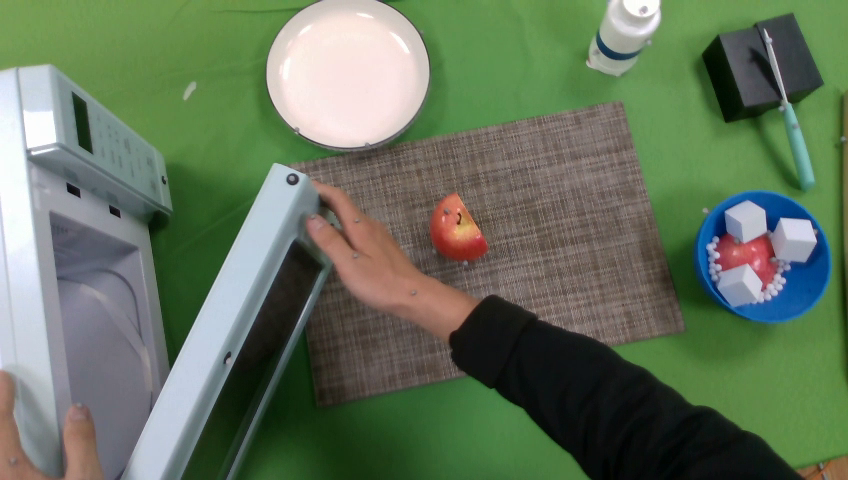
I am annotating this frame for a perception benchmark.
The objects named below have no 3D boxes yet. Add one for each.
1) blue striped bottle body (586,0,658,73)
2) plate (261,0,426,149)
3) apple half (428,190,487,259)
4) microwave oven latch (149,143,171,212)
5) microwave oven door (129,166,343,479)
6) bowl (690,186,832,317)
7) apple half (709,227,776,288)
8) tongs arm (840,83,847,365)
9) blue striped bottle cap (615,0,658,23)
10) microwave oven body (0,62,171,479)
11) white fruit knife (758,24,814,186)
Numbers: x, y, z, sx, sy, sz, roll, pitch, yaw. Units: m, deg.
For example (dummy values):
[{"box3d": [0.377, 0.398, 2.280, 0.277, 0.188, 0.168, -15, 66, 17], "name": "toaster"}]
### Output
[{"box3d": [0.244, -0.260, 0.743, 0.063, 0.121, 0.063, 0, 78, 1], "name": "blue striped bottle body"}, {"box3d": [-0.101, -0.211, 0.777, 0.208, 0.039, 0.206, 0, 80, 0], "name": "plate"}, {"box3d": [0.033, -0.011, 0.717, 0.053, 0.075, 0.080, -32, 84, -1], "name": "apple half"}, {"box3d": [-0.329, -0.075, 0.733, 0.030, 0.029, 0.079, -12, 80, -3], "name": "microwave oven latch"}, {"box3d": [-0.180, 0.122, 0.593, 0.039, 0.244, 0.355, 21, 80, 5], "name": "microwave oven door"}, {"box3d": [0.379, 0.019, 0.713, 0.151, 0.077, 0.150, 0, 79, 1], "name": "bowl"}, {"box3d": [0.379, 0.019, 0.709, 0.081, 0.033, 0.081, 0, 79, 2], "name": "apple half"}, {"box3d": [0.531, -0.013, 0.742, 0.028, 0.028, 0.386, 6, 80, -2], "name": "tongs arm"}, {"box3d": [0.243, -0.272, 0.693, 0.044, 0.020, 0.044, 0, 82, 0], "name": "blue striped bottle cap"}, {"box3d": [-0.434, 0.108, 0.600, 0.326, 0.261, 0.439, -13, 80, -3], "name": "microwave oven body"}, {"box3d": [0.441, -0.164, 0.742, 0.016, 0.027, 0.208, -19, 97, 14], "name": "white fruit knife"}]
